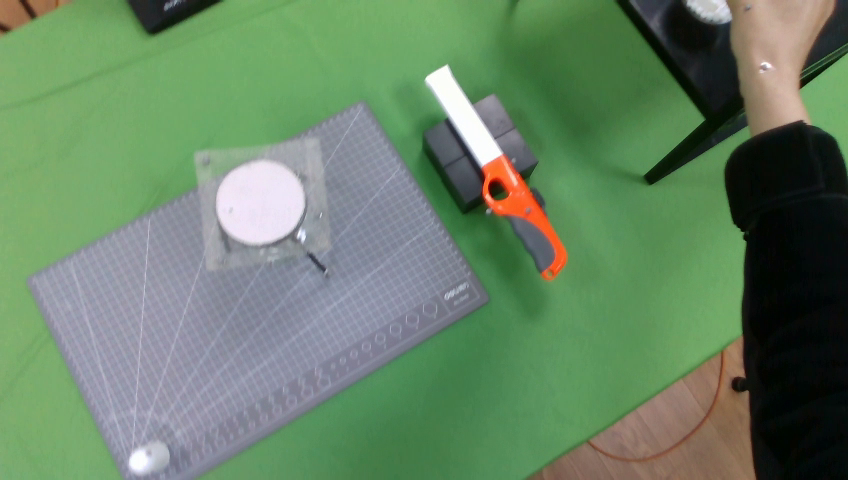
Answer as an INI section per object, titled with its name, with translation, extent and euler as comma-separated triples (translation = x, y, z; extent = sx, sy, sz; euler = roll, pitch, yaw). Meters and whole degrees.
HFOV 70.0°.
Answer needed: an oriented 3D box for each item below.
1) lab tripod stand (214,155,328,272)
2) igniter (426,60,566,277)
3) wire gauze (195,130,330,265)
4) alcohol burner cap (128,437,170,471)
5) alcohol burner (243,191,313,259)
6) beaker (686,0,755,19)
[lab tripod stand]
translation = -0.163, -0.031, 0.657
extent = 0.148, 0.132, 0.147
euler = 0, 76, -1
[igniter]
translation = 0.082, -0.084, 0.687
extent = 0.057, 0.025, 0.275
euler = -30, 80, -2
[wire gauze]
translation = -0.157, -0.044, 0.591
extent = 0.121, 0.011, 0.124
euler = -8, 78, -4
[alcohol burner cap]
translation = -0.296, 0.230, 0.645
extent = 0.034, 0.048, 0.033
euler = 1, 78, -3
[alcohol burner]
translation = -0.163, -0.019, 0.664
extent = 0.078, 0.119, 0.077
euler = 0, 80, -2
[beaker]
translation = 0.277, -0.249, 0.531
extent = 0.084, 0.100, 0.074
euler = 24, 81, 2
